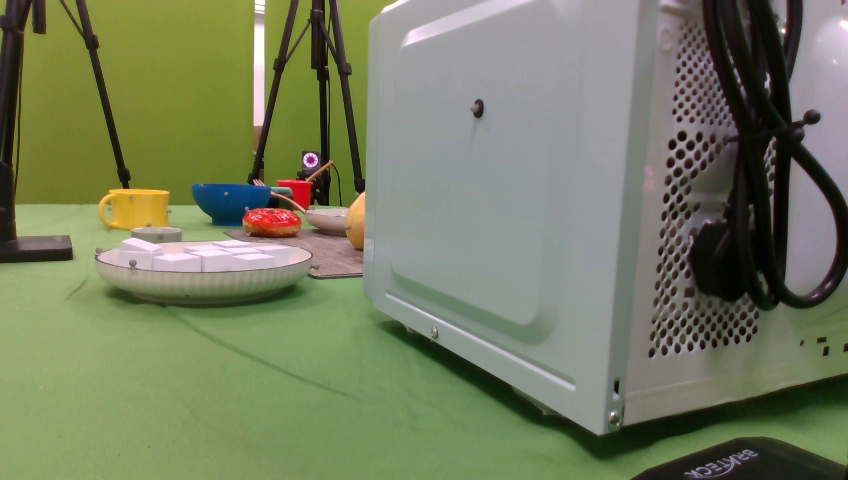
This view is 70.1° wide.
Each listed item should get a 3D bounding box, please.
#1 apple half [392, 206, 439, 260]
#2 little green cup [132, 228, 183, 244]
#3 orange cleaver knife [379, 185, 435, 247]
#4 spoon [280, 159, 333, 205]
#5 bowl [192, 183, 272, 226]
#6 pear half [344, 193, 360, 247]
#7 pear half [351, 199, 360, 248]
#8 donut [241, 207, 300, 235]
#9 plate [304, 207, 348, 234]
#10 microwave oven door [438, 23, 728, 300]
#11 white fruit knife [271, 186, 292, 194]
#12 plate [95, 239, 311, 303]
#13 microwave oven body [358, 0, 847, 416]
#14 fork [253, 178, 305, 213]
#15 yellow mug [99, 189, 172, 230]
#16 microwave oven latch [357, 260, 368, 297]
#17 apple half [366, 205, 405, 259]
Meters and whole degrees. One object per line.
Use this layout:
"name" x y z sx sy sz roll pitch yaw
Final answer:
"apple half" -0.007 -0.009 0.835 0.053 0.074 0.081 9 4 18
"little green cup" -0.342 0.006 0.779 0.061 0.038 0.061 2 8 0
"orange cleaver knife" -0.022 -0.028 0.878 0.012 0.077 0.212 3 -4 19
"spoon" -0.316 -0.159 1.639 0.194 0.022 0.041 -49 32 -20
"bowl" -0.381 -0.071 1.202 0.151 0.077 0.151 3 7 0
"pear half" -0.104 -0.033 0.928 0.031 0.088 0.070 5 13 18
"pear half" -0.071 -0.040 0.914 0.056 0.110 0.076 4 12 18
"donut" -0.263 -0.031 1.039 0.099 0.048 0.099 4 10 0
"plate" -0.123 -0.037 1.149 0.209 0.038 0.209 2 7 0
"microwave oven door" 0.181 -0.072 0.621 0.358 0.243 0.039 -2 8 -29
"white fruit knife" -0.399 -0.111 1.368 0.208 0.016 0.027 -4 -20 -29
"plate" -0.224 0.031 0.629 0.208 0.039 0.207 2 7 0
"microwave oven body" 0.211 -0.047 0.475 0.444 0.260 0.324 -1 7 -28
"fork" -0.294 -0.084 1.293 0.206 0.018 0.028 29 12 26
"yellow mug" -0.519 -0.055 1.080 0.099 0.064 0.131 7 10 26
"microwave oven latch" -0.019 0.033 0.531 0.079 0.029 0.030 -1 7 -27
"apple half" -0.059 -0.007 0.846 0.032 0.081 0.081 -17 0 21
